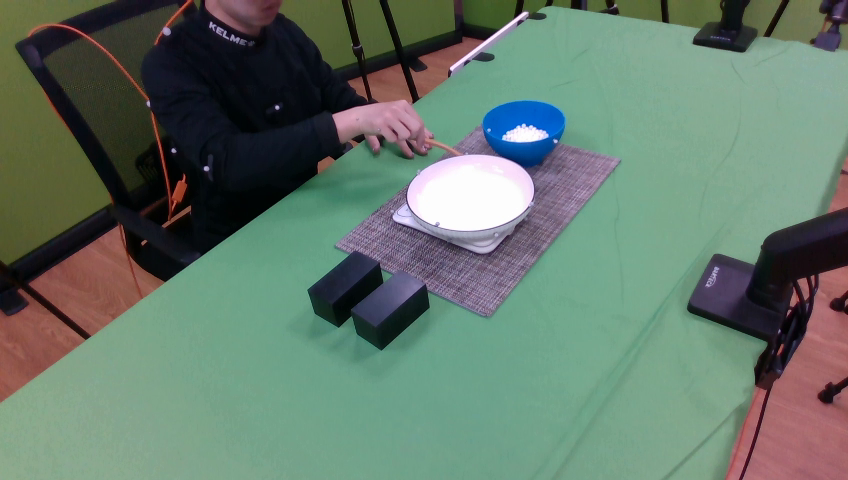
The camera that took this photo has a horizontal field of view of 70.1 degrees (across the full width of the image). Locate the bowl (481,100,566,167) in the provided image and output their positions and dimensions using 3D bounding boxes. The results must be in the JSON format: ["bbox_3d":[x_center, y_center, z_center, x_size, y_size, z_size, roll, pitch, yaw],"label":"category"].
[{"bbox_3d":[0.183,-0.187,1.111,0.151,0.077,0.150,-4,41,4],"label":"bowl"}]

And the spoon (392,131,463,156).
[{"bbox_3d":[0.036,-0.163,1.087,0.194,0.021,0.041,22,33,-1],"label":"spoon"}]

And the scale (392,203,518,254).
[{"bbox_3d":[0.061,-0.050,1.006,0.199,0.032,0.149,22,48,30],"label":"scale"}]

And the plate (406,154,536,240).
[{"bbox_3d":[0.075,-0.067,0.973,0.209,0.038,0.208,-4,41,4],"label":"plate"}]
